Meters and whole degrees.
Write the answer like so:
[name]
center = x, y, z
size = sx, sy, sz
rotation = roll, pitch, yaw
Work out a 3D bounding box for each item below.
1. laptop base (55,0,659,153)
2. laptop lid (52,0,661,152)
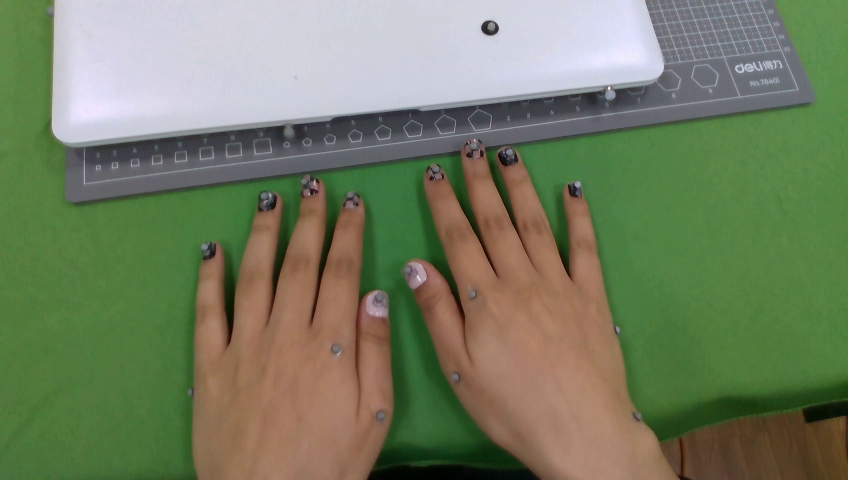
[laptop base]
center = -0.047, -0.178, 0.389
size = 0.355, 0.023, 0.234
rotation = -8, 75, -6
[laptop lid]
center = -0.046, -0.180, 0.377
size = 0.357, 0.013, 0.240
rotation = -6, 73, -5
